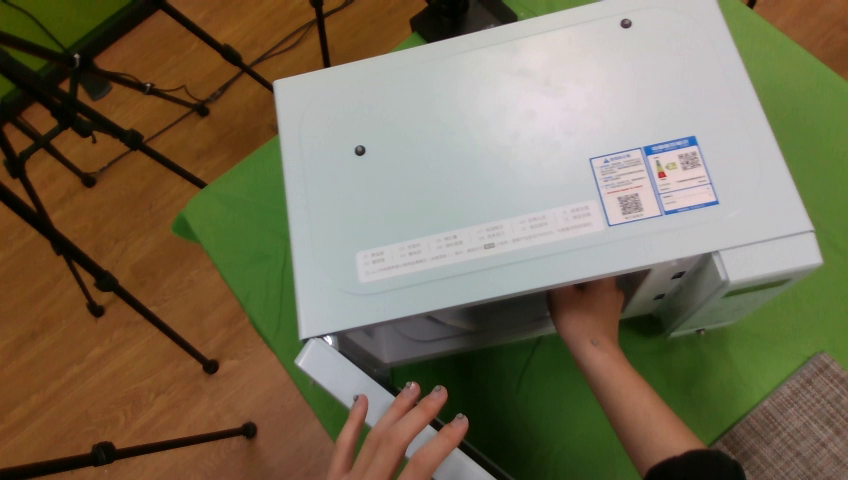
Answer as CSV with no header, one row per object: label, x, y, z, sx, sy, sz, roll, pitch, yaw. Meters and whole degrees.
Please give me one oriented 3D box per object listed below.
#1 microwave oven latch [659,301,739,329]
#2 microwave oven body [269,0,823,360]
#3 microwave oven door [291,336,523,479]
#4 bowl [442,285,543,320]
microwave oven latch,0.313,0.080,0.690,0.079,0.030,0.030,-11,70,5
microwave oven body,0.099,-0.049,0.662,0.441,0.262,0.323,-13,70,5
microwave oven door,0.050,0.219,0.571,0.353,0.245,0.039,34,79,17
bowl,0.068,0.027,0.685,0.151,0.077,0.150,-3,67,6
